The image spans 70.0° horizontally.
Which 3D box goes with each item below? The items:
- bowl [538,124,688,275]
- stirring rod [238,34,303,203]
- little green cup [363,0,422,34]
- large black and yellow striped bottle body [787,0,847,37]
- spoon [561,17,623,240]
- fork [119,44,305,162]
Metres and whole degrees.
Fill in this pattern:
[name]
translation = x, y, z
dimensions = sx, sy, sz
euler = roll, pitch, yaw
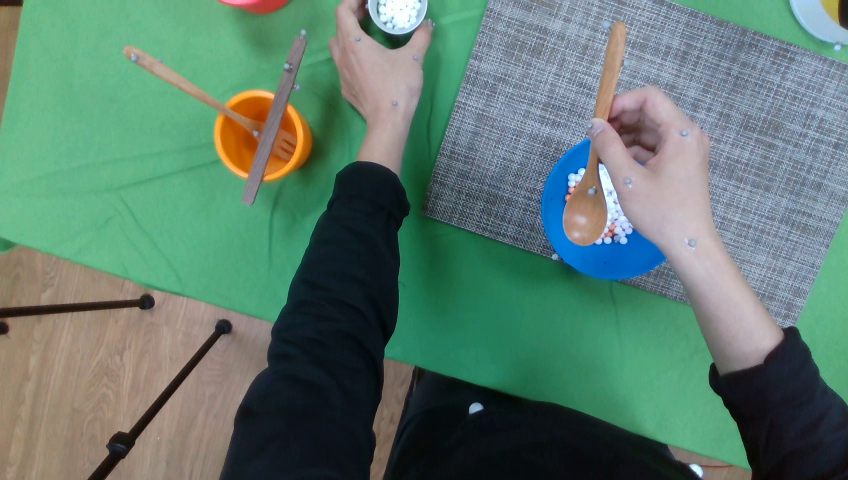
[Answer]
[bowl]
translation = 0.191, -0.043, 0.644
dimensions = 0.151, 0.076, 0.151
euler = 0, 99, 2
[stirring rod]
translation = -0.155, -0.121, 0.609
dimensions = 0.014, 0.006, 0.176
euler = 20, 99, -5
[little green cup]
translation = -0.031, -0.249, 0.642
dimensions = 0.061, 0.038, 0.061
euler = 0, 98, 3
[large black and yellow striped bottle body]
translation = 0.439, -0.268, 0.552
dimensions = 0.131, 0.183, 0.131
euler = 0, 98, 2
[spoon]
translation = 0.141, -0.082, 0.496
dimensions = 0.041, 0.021, 0.195
euler = 26, 137, 30
[fork]
translation = -0.205, -0.134, 0.611
dimensions = 0.028, 0.018, 0.209
euler = -50, 137, 10
